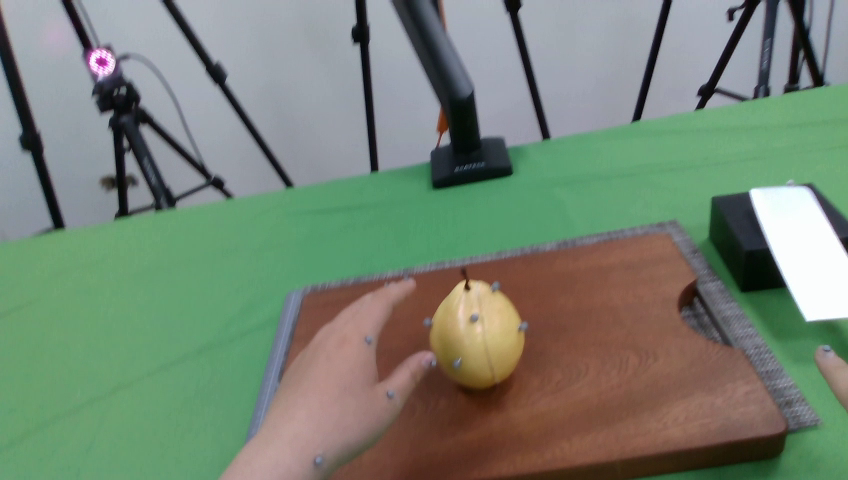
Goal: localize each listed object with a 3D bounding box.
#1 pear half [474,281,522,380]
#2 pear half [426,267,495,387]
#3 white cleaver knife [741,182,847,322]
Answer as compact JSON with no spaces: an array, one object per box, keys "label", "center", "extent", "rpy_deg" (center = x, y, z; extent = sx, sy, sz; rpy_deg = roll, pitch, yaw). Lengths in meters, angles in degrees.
[{"label":"pear half","center":[0.064,0.071,0.501],"extent":[0.031,0.088,0.070],"rpy_deg":[-10,25,5]},{"label":"pear half","center":[0.027,0.069,0.501],"extent":[0.056,0.111,0.075],"rpy_deg":[-10,29,6]},{"label":"white cleaver knife","center":[0.342,0.045,0.512],"extent":[0.066,0.022,0.283],"rpy_deg":[-10,43,11]}]
